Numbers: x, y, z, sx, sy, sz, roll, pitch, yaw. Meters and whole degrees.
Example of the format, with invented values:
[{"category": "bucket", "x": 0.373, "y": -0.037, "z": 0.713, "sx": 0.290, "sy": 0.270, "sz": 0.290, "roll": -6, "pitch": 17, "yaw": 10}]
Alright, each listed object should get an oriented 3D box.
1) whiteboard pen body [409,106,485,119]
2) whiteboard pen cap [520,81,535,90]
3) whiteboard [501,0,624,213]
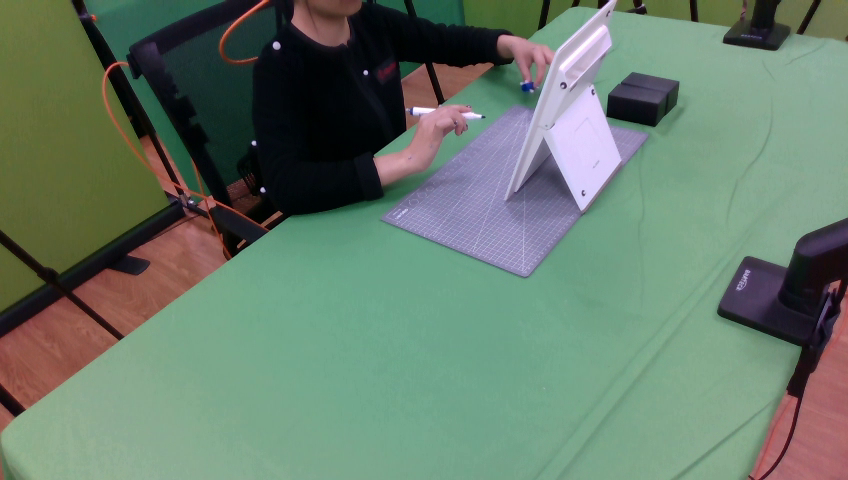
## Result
[{"category": "whiteboard pen body", "x": 0.042, "y": -0.231, "z": 1.104, "sx": 0.140, "sy": 0.017, "sz": 0.017, "roll": 6, "pitch": 43, "yaw": 8}, {"category": "whiteboard pen cap", "x": 0.212, "y": -0.317, "z": 1.245, "sx": 0.033, "sy": 0.018, "sz": 0.018, "roll": -21, "pitch": 39, "yaw": -39}, {"category": "whiteboard", "x": 0.271, "y": -0.189, "z": 0.977, "sx": 0.143, "sy": 0.306, "sz": 0.218, "roll": 34, "pitch": 53, "yaw": 16}]
